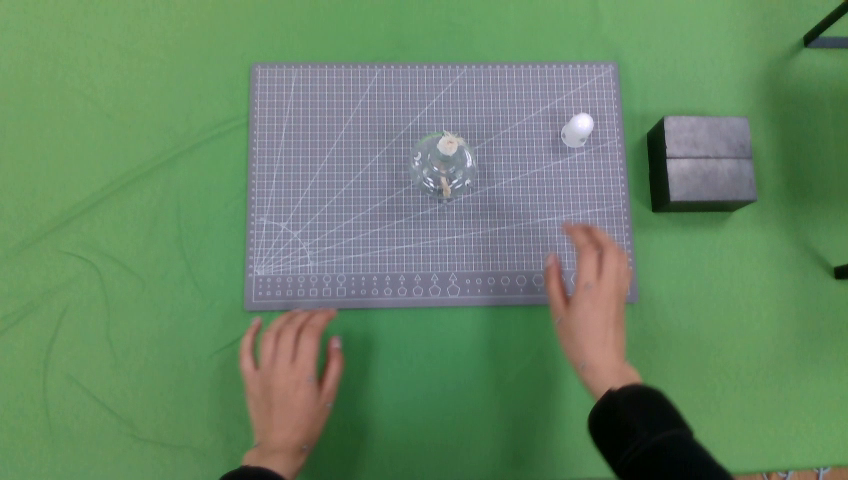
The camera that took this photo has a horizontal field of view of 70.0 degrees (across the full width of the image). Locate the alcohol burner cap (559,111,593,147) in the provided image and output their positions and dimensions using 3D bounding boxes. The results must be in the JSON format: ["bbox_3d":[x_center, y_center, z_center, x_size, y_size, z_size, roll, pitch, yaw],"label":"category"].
[{"bbox_3d":[0.181,-0.134,0.716,0.034,0.048,0.033,1,78,-3],"label":"alcohol burner cap"}]

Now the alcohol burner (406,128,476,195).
[{"bbox_3d":[0.020,-0.091,0.664,0.078,0.119,0.077,1,79,-4],"label":"alcohol burner"}]
